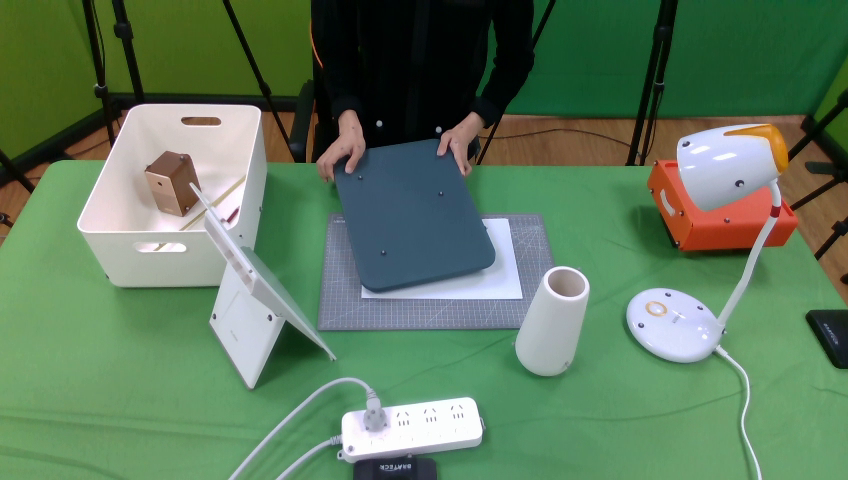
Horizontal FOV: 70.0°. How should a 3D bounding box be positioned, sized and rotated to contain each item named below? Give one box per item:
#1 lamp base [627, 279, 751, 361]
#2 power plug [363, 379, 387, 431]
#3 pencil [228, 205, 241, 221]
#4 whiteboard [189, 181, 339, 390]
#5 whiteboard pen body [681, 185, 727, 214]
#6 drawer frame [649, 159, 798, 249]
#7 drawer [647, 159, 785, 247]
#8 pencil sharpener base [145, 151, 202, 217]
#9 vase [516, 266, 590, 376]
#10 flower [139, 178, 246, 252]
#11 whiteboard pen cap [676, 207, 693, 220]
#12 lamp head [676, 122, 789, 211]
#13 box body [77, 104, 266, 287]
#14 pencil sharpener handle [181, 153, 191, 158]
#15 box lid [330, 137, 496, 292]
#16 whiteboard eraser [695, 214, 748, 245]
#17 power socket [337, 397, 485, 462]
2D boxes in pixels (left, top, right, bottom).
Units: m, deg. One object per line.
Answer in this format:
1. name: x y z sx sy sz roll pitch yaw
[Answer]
1. lamp base: 0.459 0.100 1.027 0.178 0.181 0.160 27 51 17
2. power plug: -0.072 0.252 0.910 0.035 0.053 0.072 3 44 -1
3. pencil: -0.402 -0.009 1.176 0.012 0.012 0.193 14 44 9
4. whiteboard: -0.292 0.096 0.929 0.144 0.307 0.216 -37 57 -10
5. whiteboard pen body: 0.571 -0.081 1.238 0.141 0.017 0.017 -27 54 -23
6. drawer frame: 0.588 -0.077 1.219 0.214 0.083 0.200 -2 45 -5
7. drawer: 0.582 -0.079 1.214 0.212 0.073 0.193 -1 45 -5
8. pencil sharpener base: -0.491 -0.112 1.199 0.061 0.107 0.076 15 47 12
9. vase: 0.208 0.132 0.964 0.098 0.201 0.097 3 46 -3
10. flower: -0.442 -0.046 1.193 0.044 0.038 0.361 43 49 -6
11. whiteboard pen cap: 0.524 -0.053 1.216 0.033 0.018 0.018 -28 54 -23
12. lamp head: 0.423 -0.104 0.819 0.122 0.113 0.112 -13 33 40
13. box body: -0.447 -0.088 1.150 0.254 0.161 0.361 -1 46 -5
14. pencil sharpener handle: -0.478 -0.156 1.225 0.036 0.068 0.030 23 48 3
15. box lid: -0.032 -0.065 1.212 0.263 0.015 0.369 -12 52 -10
16. whiteboard eraser: 0.592 -0.019 1.209 0.113 0.042 0.055 11 27 -36
17. power socket: -0.018 0.285 0.915 0.227 0.033 0.071 -5 46 -8
